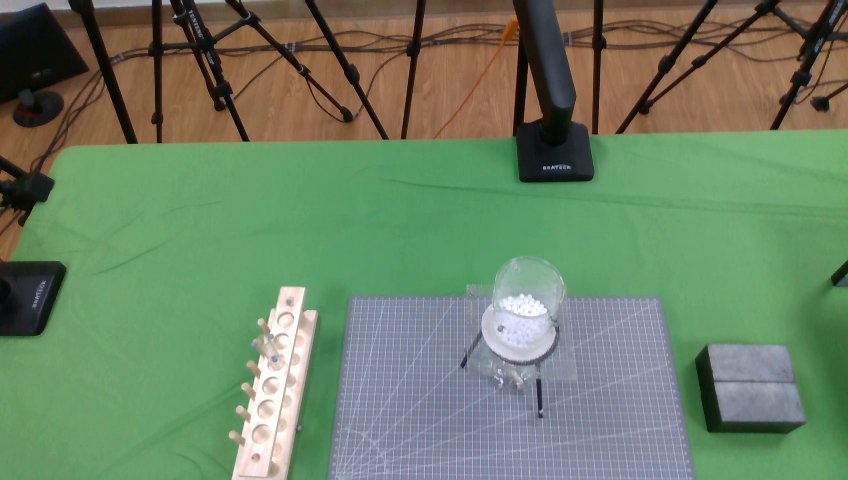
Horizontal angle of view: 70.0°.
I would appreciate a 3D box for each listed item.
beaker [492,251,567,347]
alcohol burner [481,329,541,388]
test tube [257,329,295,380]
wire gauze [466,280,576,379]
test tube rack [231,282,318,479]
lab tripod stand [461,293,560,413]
[{"bbox_3d":[0.110,0.071,0.669,0.084,0.101,0.073,-29,61,-14],"label":"beaker"},{"bbox_3d":[0.113,0.143,0.770,0.078,0.120,0.077,0,58,1],"label":"alcohol burner"},{"bbox_3d":[-0.180,0.145,0.748,0.017,0.151,0.017,0,60,1],"label":"test tube"},{"bbox_3d":[0.112,0.100,0.707,0.125,0.011,0.120,2,59,2],"label":"wire gauze"},{"bbox_3d":[-0.197,0.180,0.786,0.067,0.086,0.240,2,59,5],"label":"test tube rack"},{"bbox_3d":[0.119,0.132,0.766,0.148,0.132,0.147,-2,56,3],"label":"lab tripod stand"}]
